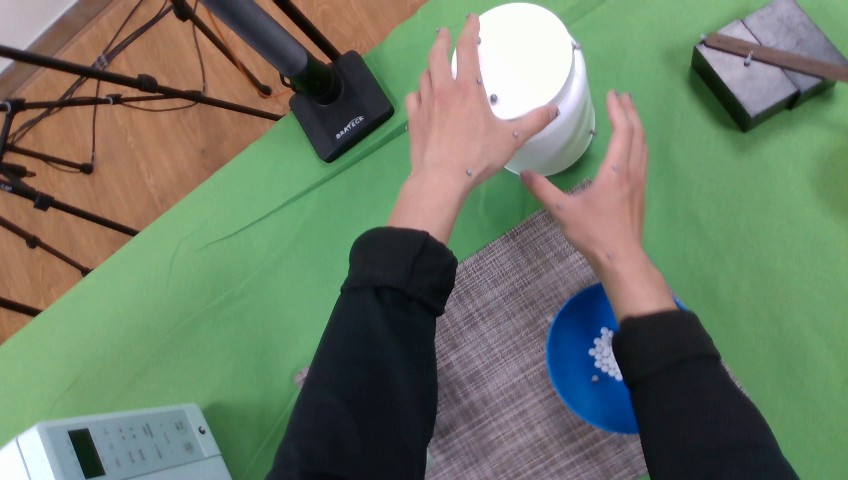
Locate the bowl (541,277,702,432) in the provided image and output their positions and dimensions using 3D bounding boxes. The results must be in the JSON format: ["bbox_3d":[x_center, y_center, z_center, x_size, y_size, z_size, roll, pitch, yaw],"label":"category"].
[{"bbox_3d":[0.202,0.116,0.625,0.151,0.077,0.151,-3,81,19],"label":"bowl"}]

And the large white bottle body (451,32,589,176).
[{"bbox_3d":[0.104,-0.152,0.646,0.130,0.186,0.130,-3,80,19],"label":"large white bottle body"}]

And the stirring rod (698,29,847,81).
[{"bbox_3d":[0.361,-0.180,0.600,0.175,0.006,0.014,24,125,20],"label":"stirring rod"}]

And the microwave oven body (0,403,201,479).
[{"bbox_3d":[-0.364,0.461,0.672,0.326,0.262,0.438,-36,73,10],"label":"microwave oven body"}]

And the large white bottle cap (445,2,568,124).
[{"bbox_3d":[0.076,-0.166,0.567,0.114,0.018,0.114,-3,81,18],"label":"large white bottle cap"}]

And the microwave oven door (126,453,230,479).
[{"bbox_3d":[-0.227,0.409,0.628,0.039,0.245,0.353,-36,72,11],"label":"microwave oven door"}]

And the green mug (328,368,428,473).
[{"bbox_3d":[-0.040,0.205,0.682,0.092,0.105,0.124,-43,71,8],"label":"green mug"}]

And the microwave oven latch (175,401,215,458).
[{"bbox_3d":[-0.304,0.248,0.787,0.030,0.030,0.078,-36,73,10],"label":"microwave oven latch"}]
